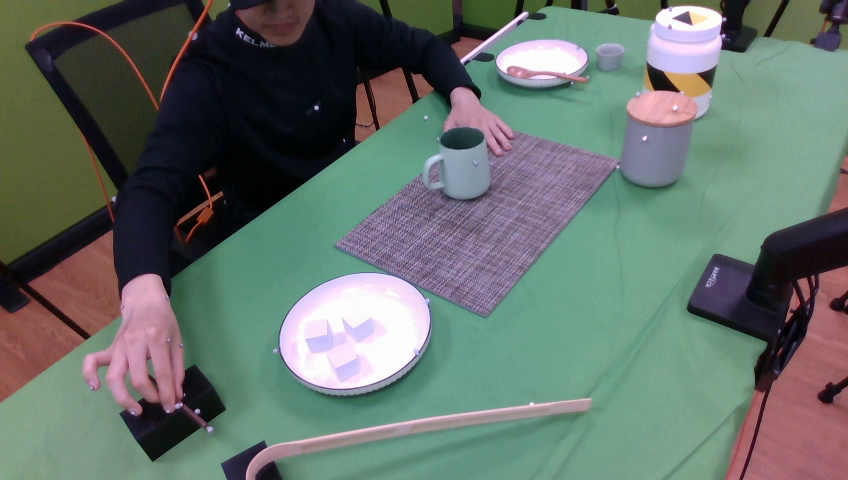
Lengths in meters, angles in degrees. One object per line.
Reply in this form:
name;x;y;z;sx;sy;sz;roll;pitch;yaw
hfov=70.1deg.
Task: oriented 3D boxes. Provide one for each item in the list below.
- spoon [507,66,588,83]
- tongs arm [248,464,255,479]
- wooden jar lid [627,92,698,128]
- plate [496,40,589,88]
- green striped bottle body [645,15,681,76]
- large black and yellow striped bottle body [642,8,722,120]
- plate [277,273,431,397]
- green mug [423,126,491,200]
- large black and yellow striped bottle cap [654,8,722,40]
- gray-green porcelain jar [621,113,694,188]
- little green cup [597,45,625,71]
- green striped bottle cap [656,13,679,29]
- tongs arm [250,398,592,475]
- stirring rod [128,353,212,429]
spoon;0.265;-0.357;1.311;0.192;0.022;0.042;18;47;38
tongs arm;0.012;0.262;0.615;0.385;0.026;0.050;2;41;-2
wooden jar lid;0.384;-0.207;0.979;0.108;0.021;0.108;-6;39;5
plate;0.269;-0.397;1.381;0.209;0.038;0.208;-4;41;4
green striped bottle body;0.520;-0.424;1.312;0.063;0.120;0.063;-4;40;4
large black and yellow striped bottle body;0.493;-0.334;1.161;0.131;0.185;0.130;-4;41;4
plate;-0.091;0.129;0.821;0.207;0.039;0.206;-4;40;4
green mug;0.055;-0.125;1.039;0.126;0.105;0.091;-25;44;-19
large black and yellow striped bottle cap;0.483;-0.397;1.108;0.115;0.019;0.114;-3;41;3
gray-green porcelain jar;0.390;-0.161;1.020;0.106;0.127;0.105;-4;41;4
little green cup;0.422;-0.413;1.375;0.061;0.039;0.061;-3;41;3
green striped bottle cap;0.515;-0.463;1.278;0.044;0.020;0.044;-6;42;6
tongs arm;0.008;0.212;0.675;0.389;0.028;0.028;-5;46;-11
stirring rod;-0.311;0.181;0.732;0.175;0.014;0.006;25;54;32
